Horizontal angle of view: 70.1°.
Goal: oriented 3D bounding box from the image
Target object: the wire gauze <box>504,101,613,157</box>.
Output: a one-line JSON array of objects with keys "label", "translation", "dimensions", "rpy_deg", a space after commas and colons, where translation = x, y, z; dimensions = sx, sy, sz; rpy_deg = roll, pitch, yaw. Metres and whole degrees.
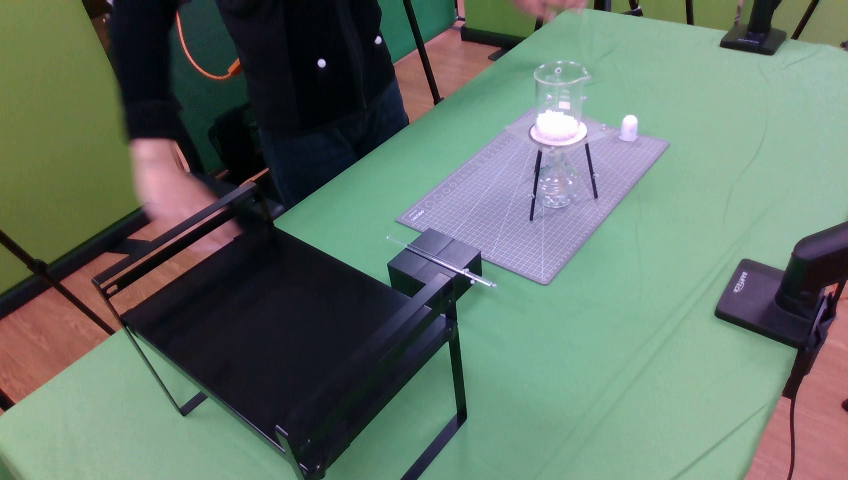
[{"label": "wire gauze", "translation": [0.211, -0.175, 0.956], "dimensions": [0.125, 0.011, 0.120], "rpy_deg": [-26, 43, -17]}]

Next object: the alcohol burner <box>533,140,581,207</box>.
[{"label": "alcohol burner", "translation": [0.220, -0.114, 0.999], "dimensions": [0.078, 0.119, 0.077], "rpy_deg": [-5, 42, 5]}]

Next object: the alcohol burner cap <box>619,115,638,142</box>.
[{"label": "alcohol burner cap", "translation": [0.389, -0.214, 1.145], "dimensions": [0.034, 0.048, 0.033], "rpy_deg": [-3, 40, 3]}]

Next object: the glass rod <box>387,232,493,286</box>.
[{"label": "glass rod", "translation": [0.018, 0.026, 0.878], "dimensions": [0.198, 0.008, 0.008], "rpy_deg": [25, 50, 33]}]

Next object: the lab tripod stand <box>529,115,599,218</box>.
[{"label": "lab tripod stand", "translation": [0.217, -0.123, 0.995], "dimensions": [0.148, 0.132, 0.147], "rpy_deg": [-4, 43, 4]}]

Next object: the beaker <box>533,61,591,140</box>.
[{"label": "beaker", "translation": [0.208, -0.210, 0.922], "dimensions": [0.083, 0.101, 0.074], "rpy_deg": [5, 44, 14]}]
